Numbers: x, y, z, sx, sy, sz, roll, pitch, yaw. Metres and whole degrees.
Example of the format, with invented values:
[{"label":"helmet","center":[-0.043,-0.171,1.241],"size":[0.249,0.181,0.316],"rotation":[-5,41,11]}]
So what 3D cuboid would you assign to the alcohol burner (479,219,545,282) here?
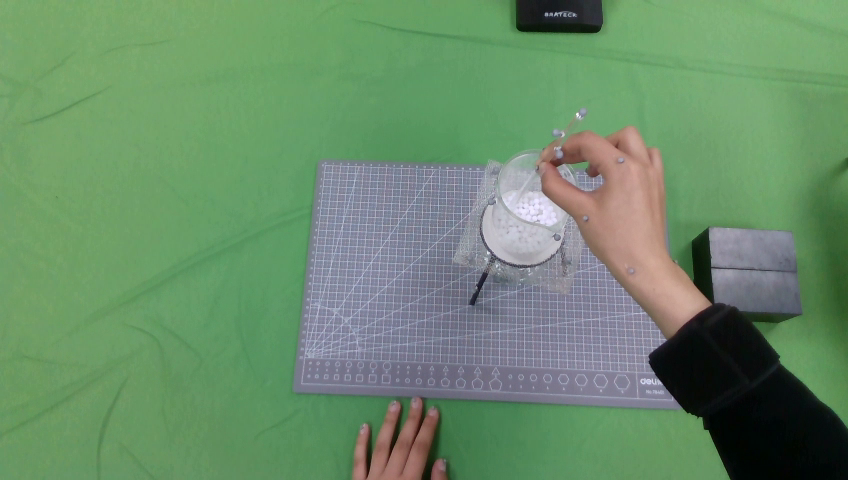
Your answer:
[{"label":"alcohol burner","center":[0.103,0.007,0.698],"size":[0.078,0.120,0.077],"rotation":[0,73,2]}]

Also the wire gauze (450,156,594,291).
[{"label":"wire gauze","center":[0.104,-0.019,0.626],"size":[0.121,0.011,0.124],"rotation":[19,71,5]}]

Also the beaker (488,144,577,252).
[{"label":"beaker","center":[0.100,-0.033,0.580],"size":[0.074,0.101,0.083],"rotation":[-24,73,-7]}]

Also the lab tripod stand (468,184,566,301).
[{"label":"lab tripod stand","center":[0.099,0.000,0.690],"size":[0.148,0.132,0.147],"rotation":[-1,72,2]}]

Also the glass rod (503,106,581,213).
[{"label":"glass rod","center":[0.096,-0.062,0.527],"size":[0.008,0.200,0.008],"rotation":[3,71,-8]}]
